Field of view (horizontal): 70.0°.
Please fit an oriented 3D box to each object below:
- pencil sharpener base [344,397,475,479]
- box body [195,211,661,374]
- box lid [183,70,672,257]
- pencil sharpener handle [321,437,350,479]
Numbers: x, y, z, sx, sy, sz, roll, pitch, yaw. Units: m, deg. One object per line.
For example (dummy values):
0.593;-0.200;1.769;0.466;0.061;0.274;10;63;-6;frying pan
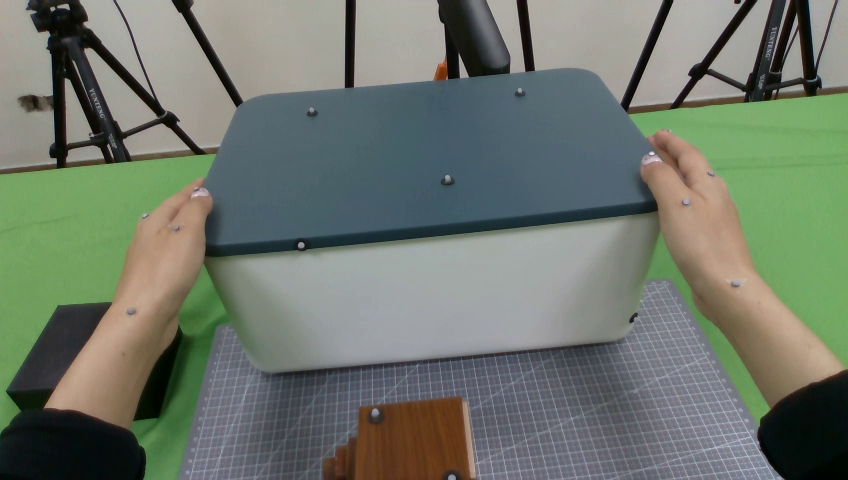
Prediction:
-0.007;0.159;0.394;0.077;0.108;0.061;-5;39;0;pencil sharpener base
0.003;-0.023;0.580;0.364;0.162;0.251;-5;38;-1;box body
-0.004;-0.082;0.534;0.372;0.015;0.260;-5;37;-1;box lid
-0.059;0.154;0.387;0.030;0.068;0.035;-5;41;1;pencil sharpener handle
